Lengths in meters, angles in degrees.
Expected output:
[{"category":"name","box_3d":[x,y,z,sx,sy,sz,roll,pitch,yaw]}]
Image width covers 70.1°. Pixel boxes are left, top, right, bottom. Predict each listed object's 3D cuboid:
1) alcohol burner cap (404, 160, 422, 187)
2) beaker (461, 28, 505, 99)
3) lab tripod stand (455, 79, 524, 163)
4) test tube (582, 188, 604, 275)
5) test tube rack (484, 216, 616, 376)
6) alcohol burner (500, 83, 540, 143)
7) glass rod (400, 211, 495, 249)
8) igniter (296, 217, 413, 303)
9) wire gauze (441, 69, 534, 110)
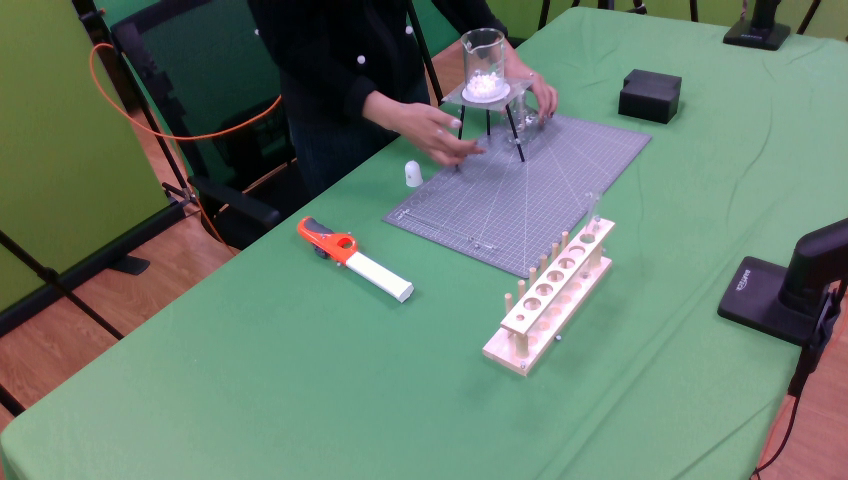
[{"category":"alcohol burner cap","box_3d":[-0.023,-0.125,1.118,0.034,0.048,0.033,-5,40,5]},{"category":"beaker","box_3d":[0.103,-0.304,1.051,0.073,0.101,0.084,19,48,29]},{"category":"lab tripod stand","box_3d":[0.120,-0.220,1.126,0.148,0.132,0.147,-4,39,4]},{"category":"test tube","box_3d":[0.228,-0.007,0.821,0.017,0.151,0.017,-3,42,3]},{"category":"test tube rack","box_3d":[0.174,0.064,0.823,0.066,0.085,0.243,23,49,32]},{"category":"alcohol burner","box_3d":[0.185,-0.249,1.164,0.078,0.119,0.077,-4,42,4]},{"category":"glass rod","box_3d":[0.035,-0.018,1.001,0.198,0.008,0.008,22,49,35]},{"category":"igniter","box_3d":[-0.121,0.025,0.970,0.274,0.025,0.057,29,63,37]},{"category":"wire gauze","box_3d":[0.114,-0.268,1.082,0.120,0.011,0.125,22,47,29]}]
